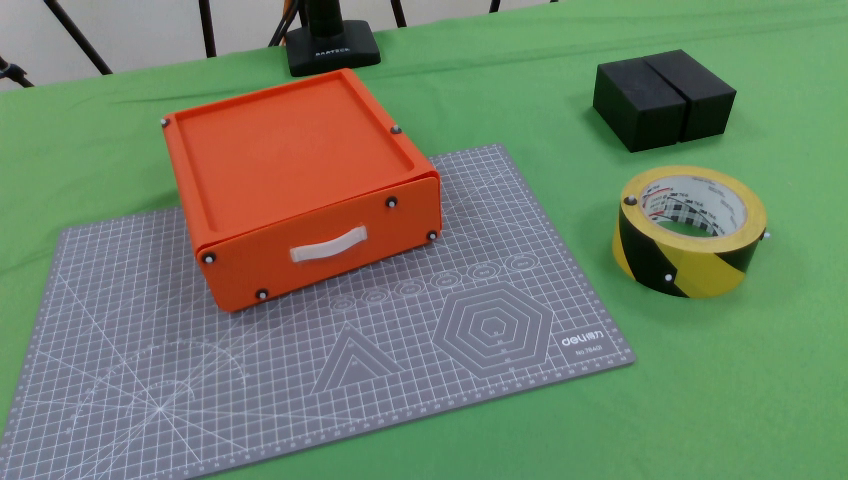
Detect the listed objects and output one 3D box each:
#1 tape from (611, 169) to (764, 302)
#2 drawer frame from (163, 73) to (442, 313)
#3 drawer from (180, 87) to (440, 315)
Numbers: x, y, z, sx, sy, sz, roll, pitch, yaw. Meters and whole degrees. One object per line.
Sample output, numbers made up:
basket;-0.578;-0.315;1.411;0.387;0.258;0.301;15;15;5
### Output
tape;0.216;-0.007;0.505;0.117;0.053;0.115;-2;43;2
drawer frame;-0.118;-0.056;0.561;0.202;0.083;0.211;-21;44;-16
drawer;-0.116;-0.052;0.559;0.195;0.074;0.209;-20;44;-15
